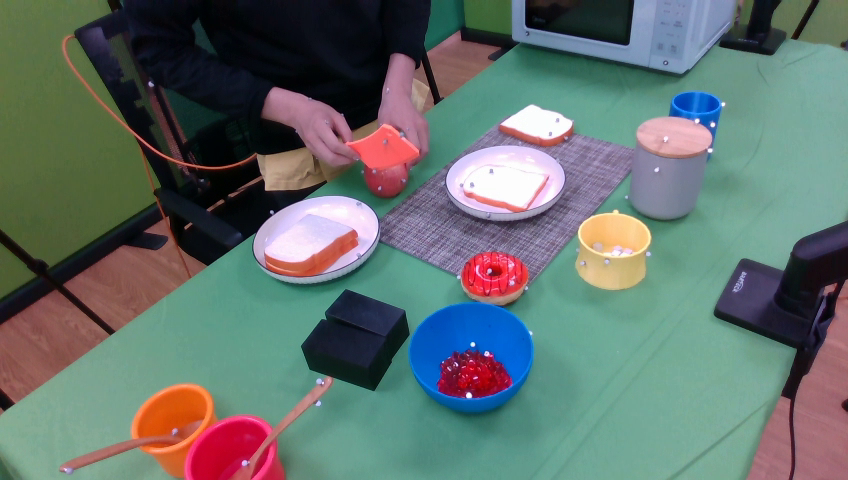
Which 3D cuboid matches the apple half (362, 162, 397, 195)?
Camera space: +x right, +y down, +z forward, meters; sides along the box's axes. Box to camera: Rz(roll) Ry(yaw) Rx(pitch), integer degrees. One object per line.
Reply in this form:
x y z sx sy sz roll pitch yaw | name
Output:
-0.084 -0.107 1.066 0.080 0.081 0.033 22 45 29 | apple half

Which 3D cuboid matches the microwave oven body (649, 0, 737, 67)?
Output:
0.475 -0.602 1.411 0.438 0.261 0.327 23 50 32 | microwave oven body

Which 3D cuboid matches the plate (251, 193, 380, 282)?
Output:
-0.174 -0.001 0.984 0.209 0.038 0.208 -4 41 4 | plate

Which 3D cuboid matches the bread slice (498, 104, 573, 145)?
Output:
0.231 -0.232 1.205 0.105 0.019 0.130 -36 47 -29 | bread slice

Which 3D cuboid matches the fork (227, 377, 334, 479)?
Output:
-0.163 0.216 0.647 0.207 0.019 0.028 -49 41 16 | fork

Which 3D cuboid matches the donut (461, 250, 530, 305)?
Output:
0.103 0.053 0.872 0.099 0.048 0.098 -4 40 4 | donut

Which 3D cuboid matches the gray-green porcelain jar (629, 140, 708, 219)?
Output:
0.383 -0.105 0.958 0.106 0.127 0.105 -4 41 4 | gray-green porcelain jar

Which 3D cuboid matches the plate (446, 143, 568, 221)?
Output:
0.142 -0.097 1.045 0.207 0.039 0.206 -4 40 4 | plate

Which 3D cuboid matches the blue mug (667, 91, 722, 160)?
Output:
0.474 -0.207 1.079 0.082 0.106 0.116 4 42 13 | blue mug

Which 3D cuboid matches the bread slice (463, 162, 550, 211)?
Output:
0.136 -0.094 1.045 0.133 0.018 0.107 15 45 23 | bread slice

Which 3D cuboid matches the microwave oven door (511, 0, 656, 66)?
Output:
0.351 -0.539 1.349 0.353 0.245 0.039 24 50 31 | microwave oven door

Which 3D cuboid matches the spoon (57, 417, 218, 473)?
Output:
-0.304 0.221 0.661 0.041 0.195 0.021 19 92 27 | spoon

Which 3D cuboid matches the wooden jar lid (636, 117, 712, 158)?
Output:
0.377 -0.151 0.917 0.108 0.021 0.108 -2 42 3 | wooden jar lid

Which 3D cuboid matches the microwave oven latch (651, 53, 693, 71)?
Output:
0.532 -0.386 1.301 0.078 0.029 0.030 27 52 34 | microwave oven latch

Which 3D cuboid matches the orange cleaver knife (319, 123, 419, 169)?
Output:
-0.090 -0.139 0.943 0.209 0.078 0.012 -3 49 48 | orange cleaver knife

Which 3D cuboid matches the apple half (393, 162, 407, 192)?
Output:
-0.062 -0.128 1.090 0.080 0.075 0.053 19 42 32 | apple half

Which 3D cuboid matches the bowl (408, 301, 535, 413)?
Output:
0.060 0.156 0.739 0.151 0.077 0.150 -4 40 4 | bowl

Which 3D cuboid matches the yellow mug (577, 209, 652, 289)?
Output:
0.279 0.004 0.893 0.099 0.064 0.130 5 41 15 | yellow mug
